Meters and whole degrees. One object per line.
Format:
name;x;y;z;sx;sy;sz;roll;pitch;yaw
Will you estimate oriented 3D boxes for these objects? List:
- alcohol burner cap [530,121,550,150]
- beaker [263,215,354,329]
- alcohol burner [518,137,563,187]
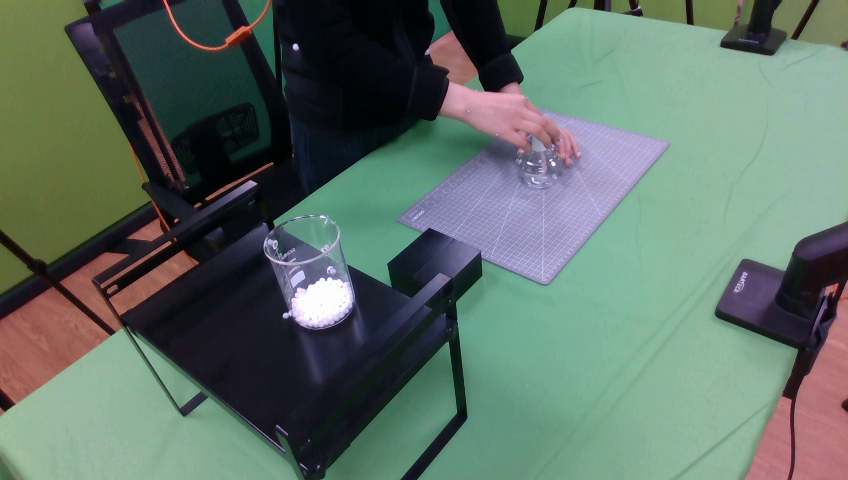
alcohol burner cap;0.195;-0.179;1.024;0.034;0.048;0.033;-8;38;7
beaker;-0.112;0.034;0.616;0.073;0.101;0.084;13;44;23
alcohol burner;0.201;-0.151;1.046;0.078;0.119;0.077;-6;42;6
